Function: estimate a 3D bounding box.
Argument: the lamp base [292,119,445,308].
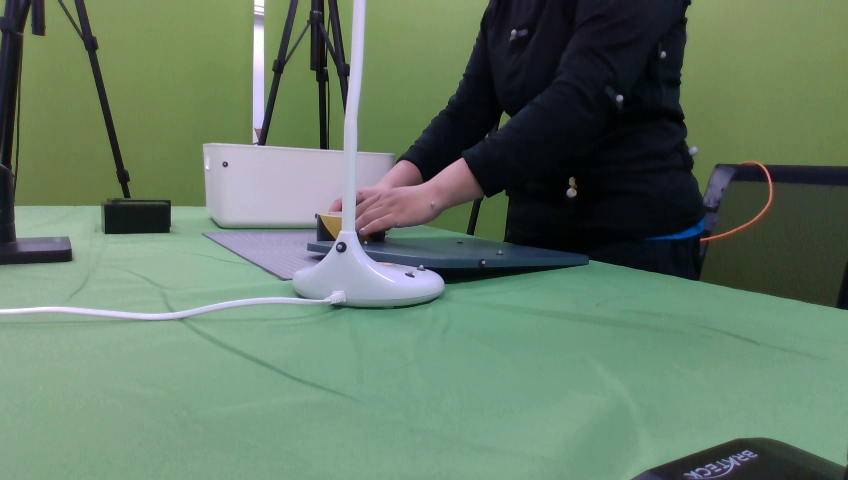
[{"bbox_3d":[-0.056,-0.030,0.616,0.160,0.180,0.179,4,10,8],"label":"lamp base"}]

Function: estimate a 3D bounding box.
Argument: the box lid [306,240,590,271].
[{"bbox_3d":[0.042,0.018,0.879,0.262,0.015,0.374,7,5,44],"label":"box lid"}]

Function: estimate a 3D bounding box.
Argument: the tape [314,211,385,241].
[{"bbox_3d":[-0.120,-0.017,0.973,0.117,0.052,0.117,2,7,0],"label":"tape"}]

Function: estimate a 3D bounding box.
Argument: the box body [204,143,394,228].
[{"bbox_3d":[-0.271,-0.117,1.291,0.366,0.160,0.253,-1,8,-25],"label":"box body"}]
